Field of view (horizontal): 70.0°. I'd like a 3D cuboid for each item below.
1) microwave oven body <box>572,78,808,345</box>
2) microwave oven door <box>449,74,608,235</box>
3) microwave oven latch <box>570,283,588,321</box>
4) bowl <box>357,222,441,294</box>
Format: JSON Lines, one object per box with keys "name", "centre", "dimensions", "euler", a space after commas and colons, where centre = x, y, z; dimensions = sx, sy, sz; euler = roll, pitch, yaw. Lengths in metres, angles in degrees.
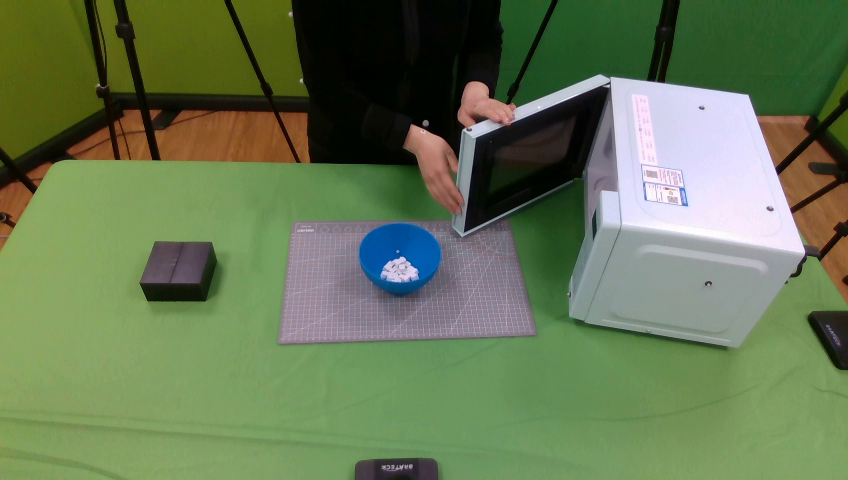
{"name": "microwave oven body", "centre": [0.456, -0.063, 1.124], "dimensions": [0.326, 0.261, 0.439], "euler": [8, 45, 5]}
{"name": "microwave oven door", "centre": [0.210, -0.172, 1.203], "dimensions": [0.356, 0.245, 0.039], "euler": [-26, 54, -26]}
{"name": "microwave oven latch", "centre": [0.276, 0.105, 1.082], "dimensions": [0.030, 0.029, 0.079], "euler": [10, 45, 6]}
{"name": "bowl", "centre": [-0.047, 0.046, 1.107], "dimensions": [0.151, 0.077, 0.150], "euler": [2, 46, -2]}
